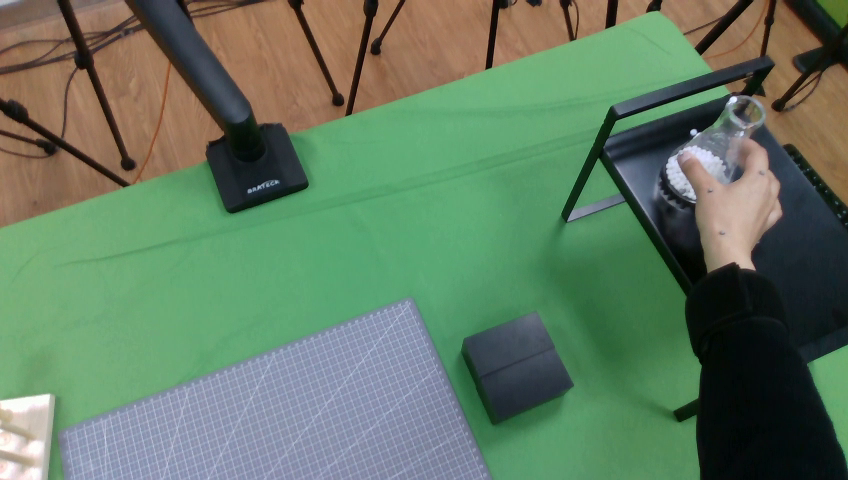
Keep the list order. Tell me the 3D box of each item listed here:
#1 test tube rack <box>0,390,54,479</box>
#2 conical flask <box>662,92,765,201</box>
[{"bbox_3d":[-0.460,0.275,0.640,0.067,0.086,0.240,-7,65,-6],"label":"test tube rack"},{"bbox_3d":[0.306,-0.100,0.631,0.075,0.123,0.074,1,64,-2],"label":"conical flask"}]
